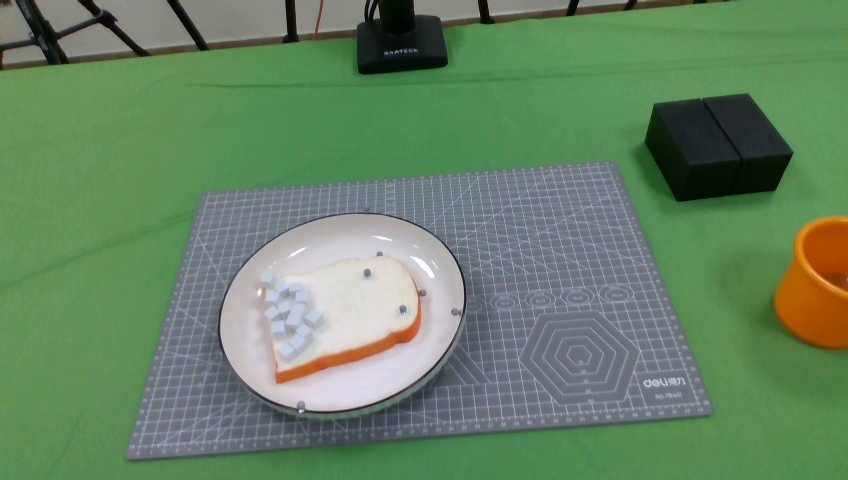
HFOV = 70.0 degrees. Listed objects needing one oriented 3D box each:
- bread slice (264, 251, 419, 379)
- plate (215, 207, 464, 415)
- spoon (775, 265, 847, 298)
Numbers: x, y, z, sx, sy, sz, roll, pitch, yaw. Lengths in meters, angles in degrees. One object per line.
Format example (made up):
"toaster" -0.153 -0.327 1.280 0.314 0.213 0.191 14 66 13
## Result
"bread slice" -0.072 0.055 0.526 0.132 0.019 0.103 -16 50 -8
"plate" -0.069 0.057 0.520 0.209 0.038 0.207 -2 49 2
"spoon" 0.364 0.019 0.451 0.041 0.193 0.022 -43 102 -33
